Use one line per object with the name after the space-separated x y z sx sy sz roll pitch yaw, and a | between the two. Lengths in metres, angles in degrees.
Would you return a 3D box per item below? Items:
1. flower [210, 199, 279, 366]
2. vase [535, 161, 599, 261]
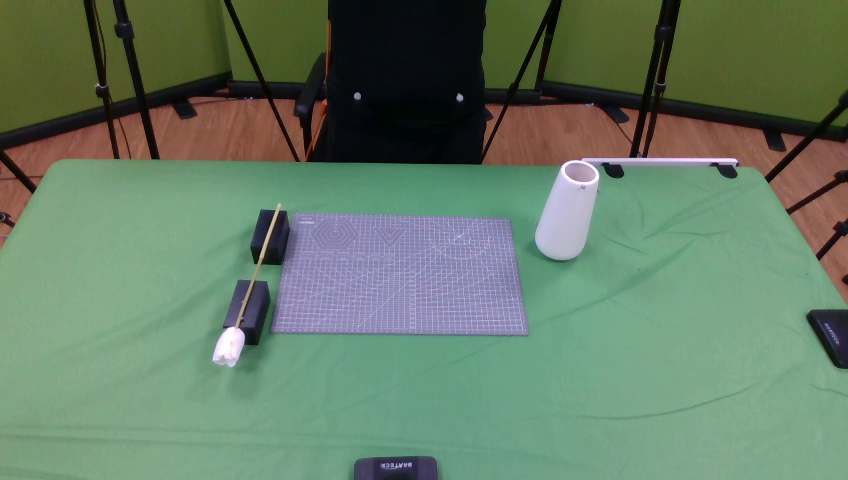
-0.298 0.056 1.054 0.044 0.038 0.359 -16 44 24 | flower
0.270 -0.051 1.145 0.098 0.201 0.097 1 46 -1 | vase
